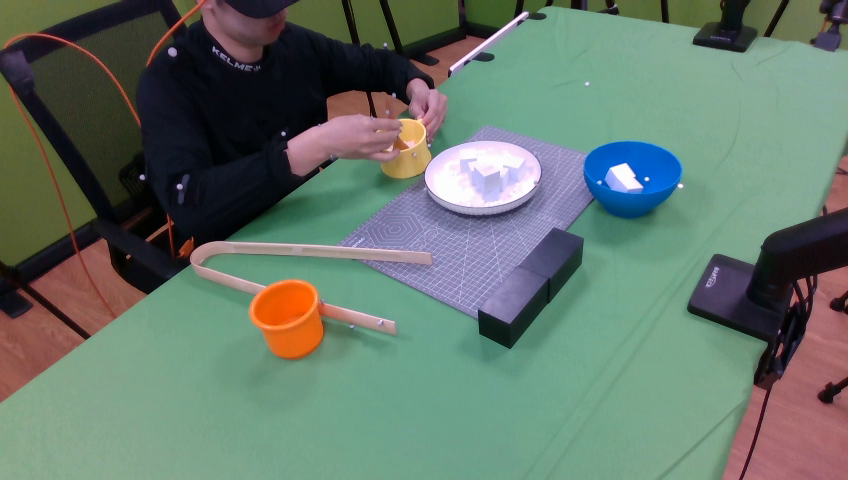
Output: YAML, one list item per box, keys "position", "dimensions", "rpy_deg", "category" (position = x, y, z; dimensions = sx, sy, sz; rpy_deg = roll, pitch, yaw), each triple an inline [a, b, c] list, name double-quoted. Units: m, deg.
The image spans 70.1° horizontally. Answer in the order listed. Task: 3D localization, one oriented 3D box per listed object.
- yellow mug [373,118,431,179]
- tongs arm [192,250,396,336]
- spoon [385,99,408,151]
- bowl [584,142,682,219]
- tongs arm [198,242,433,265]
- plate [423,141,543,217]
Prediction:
- position: [-0.032, -0.182, 1.142]
  dimensions: [0.099, 0.064, 0.131]
  rpy_deg: [24, 56, 29]
  category: "yellow mug"
- position: [-0.203, 0.074, 0.902]
  dimensions: [0.382, 0.026, 0.051]
  rpy_deg: [11, 44, 22]
  category: "tongs arm"
- position: [-0.052, -0.190, 1.067]
  dimensions: [0.042, 0.194, 0.021]
  rpy_deg: [-20, 64, -4]
  category: "spoon"
- position: [0.333, -0.087, 0.980]
  dimensions: [0.151, 0.077, 0.150]
  rpy_deg: [-4, 40, 3]
  category: "bowl"
- position: [-0.176, 0.024, 0.960]
  dimensions: [0.386, 0.028, 0.028]
  rpy_deg: [2, 45, 12]
  category: "tongs arm"
- position: [0.103, -0.103, 1.059]
  dimensions: [0.207, 0.039, 0.206]
  rpy_deg: [-4, 40, 4]
  category: "plate"
